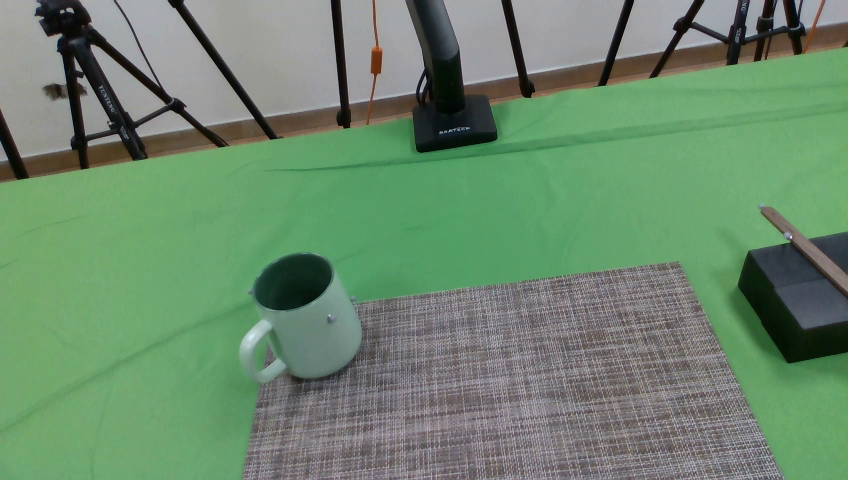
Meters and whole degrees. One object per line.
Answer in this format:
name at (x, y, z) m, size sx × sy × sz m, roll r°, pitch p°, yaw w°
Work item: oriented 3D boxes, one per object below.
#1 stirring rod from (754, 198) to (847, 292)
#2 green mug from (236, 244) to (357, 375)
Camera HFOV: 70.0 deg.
stirring rod at (0.368, 0.014, 0.566) m, size 0.014 × 0.006 × 0.174 m, roll -14°, pitch 44°, yaw -7°
green mug at (-0.130, 0.078, 0.593) m, size 0.092 × 0.106 × 0.125 m, roll 23°, pitch 53°, yaw 30°
